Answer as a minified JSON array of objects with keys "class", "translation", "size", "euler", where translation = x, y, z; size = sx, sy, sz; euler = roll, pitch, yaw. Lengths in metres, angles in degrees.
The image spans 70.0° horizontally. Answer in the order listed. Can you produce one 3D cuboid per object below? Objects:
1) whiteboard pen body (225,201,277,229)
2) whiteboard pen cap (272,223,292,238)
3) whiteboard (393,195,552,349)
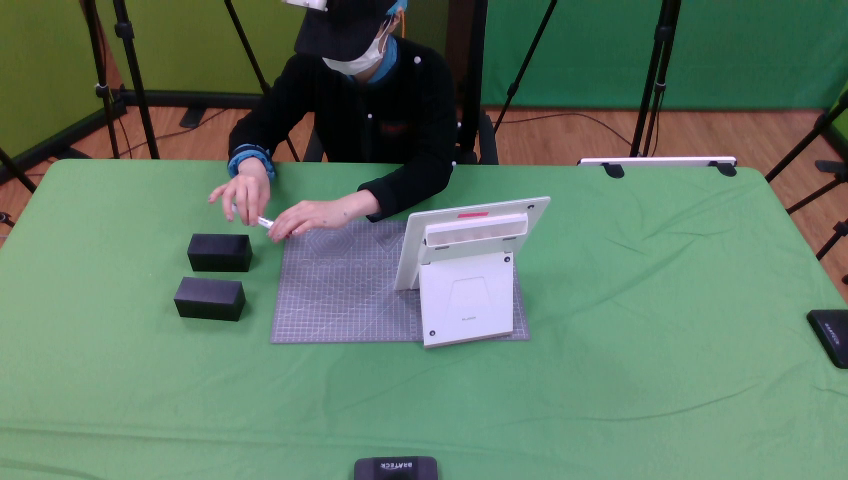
[{"class":"whiteboard pen body","translation":[-0.300,-0.040,1.084],"size":[0.140,0.017,0.017],"euler":[23,49,19]},{"class":"whiteboard pen cap","translation":[-0.250,-0.018,1.066],"size":[0.032,0.017,0.017],"euler":[24,49,16]},{"class":"whiteboard","translation":[0.077,0.071,0.977],"size":[0.217,0.306,0.143],"euler":[-7,66,-11]}]
